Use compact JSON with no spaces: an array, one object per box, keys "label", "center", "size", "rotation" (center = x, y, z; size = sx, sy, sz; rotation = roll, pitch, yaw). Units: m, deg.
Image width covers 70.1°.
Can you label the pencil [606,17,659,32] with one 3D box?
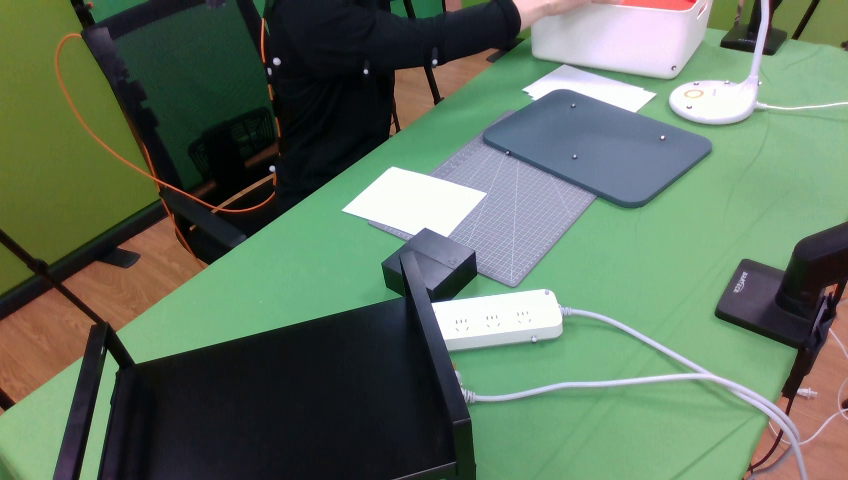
[{"label":"pencil","center":[0.480,-0.495,1.389],"size":[0.195,0.012,0.012],"rotation":[-23,42,-31]}]

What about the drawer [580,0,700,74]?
[{"label":"drawer","center":[0.486,-0.490,1.362],"size":[0.211,0.073,0.194],"rotation":[26,61,12]}]

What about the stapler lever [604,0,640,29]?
[{"label":"stapler lever","center":[0.450,-0.519,1.372],"size":[0.026,0.040,0.118],"rotation":[42,64,19]}]

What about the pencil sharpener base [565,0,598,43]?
[{"label":"pencil sharpener base","center":[0.387,-0.550,1.484],"size":[0.061,0.107,0.077],"rotation":[13,44,23]}]

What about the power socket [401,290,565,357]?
[{"label":"power socket","center":[0.080,0.113,0.821],"size":[0.227,0.033,0.072],"rotation":[-7,41,0]}]

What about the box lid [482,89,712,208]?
[{"label":"box lid","center":[0.320,-0.190,1.156],"size":[0.264,0.015,0.368],"rotation":[-33,47,-28]}]

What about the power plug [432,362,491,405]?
[{"label":"power plug","center":[0.045,0.182,0.758],"size":[0.073,0.035,0.052],"rotation":[22,43,-18]}]

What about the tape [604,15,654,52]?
[{"label":"tape","center":[0.492,-0.497,1.452],"size":[0.117,0.053,0.116],"rotation":[-12,32,8]}]

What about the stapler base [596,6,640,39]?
[{"label":"stapler base","center":[0.449,-0.505,1.391],"size":[0.041,0.024,0.131],"rotation":[42,63,19]}]

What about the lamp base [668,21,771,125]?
[{"label":"lamp base","center":[0.577,-0.333,1.155],"size":[0.179,0.181,0.160],"rotation":[6,42,12]}]

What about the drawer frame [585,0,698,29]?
[{"label":"drawer frame","center":[0.488,-0.492,1.359],"size":[0.213,0.083,0.201],"rotation":[25,60,12]}]

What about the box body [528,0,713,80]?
[{"label":"box body","center":[0.451,-0.512,1.398],"size":[0.361,0.161,0.254],"rotation":[19,48,28]}]

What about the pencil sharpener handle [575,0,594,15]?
[{"label":"pencil sharpener handle","center":[0.401,-0.594,1.511],"size":[0.036,0.067,0.030],"rotation":[35,48,-1]}]
